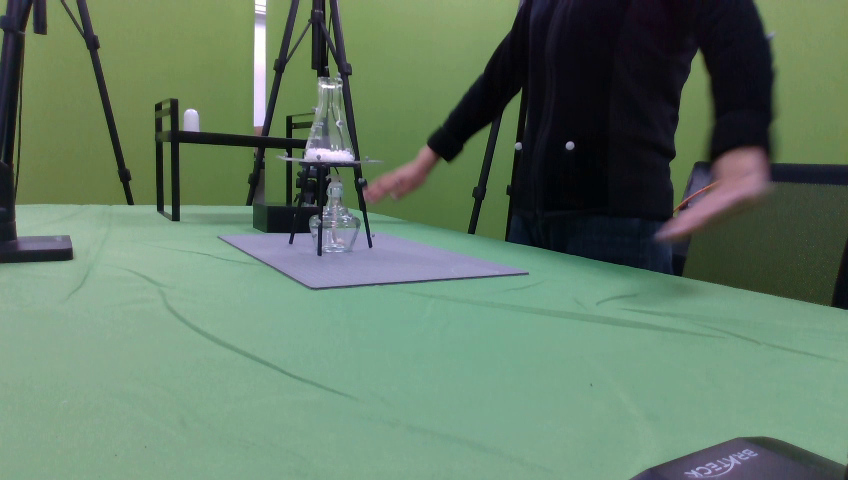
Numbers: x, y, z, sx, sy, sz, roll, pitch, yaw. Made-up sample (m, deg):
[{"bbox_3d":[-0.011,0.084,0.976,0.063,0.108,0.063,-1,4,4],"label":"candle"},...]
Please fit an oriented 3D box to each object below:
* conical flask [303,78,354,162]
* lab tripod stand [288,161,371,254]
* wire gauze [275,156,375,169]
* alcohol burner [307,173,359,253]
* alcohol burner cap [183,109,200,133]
[{"bbox_3d":[-0.140,-0.175,0.892,0.075,0.122,0.075,2,7,0],"label":"conical flask"},{"bbox_3d":[-0.148,-0.052,0.908,0.148,0.131,0.148,1,8,0],"label":"lab tripod stand"},{"bbox_3d":[-0.142,-0.116,0.899,0.122,0.011,0.124,-1,5,-36],"label":"wire gauze"},{"bbox_3d":[-0.135,-0.041,0.901,0.078,0.119,0.078,1,6,0],"label":"alcohol burner"},{"bbox_3d":[-0.472,-0.241,1.229,0.034,0.048,0.034,3,8,0],"label":"alcohol burner cap"}]
